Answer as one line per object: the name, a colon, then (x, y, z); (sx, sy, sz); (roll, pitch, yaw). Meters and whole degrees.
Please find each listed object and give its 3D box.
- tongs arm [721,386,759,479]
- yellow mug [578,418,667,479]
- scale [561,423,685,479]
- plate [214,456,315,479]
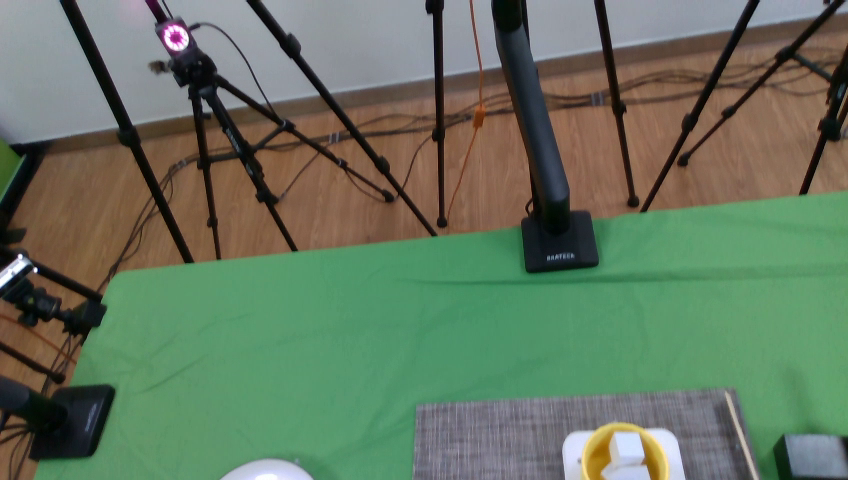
tongs arm: (0.423, 0.350, 0.700); (0.028, 0.028, 0.383); (-25, 50, 23)
yellow mug: (0.242, 0.289, 0.732); (0.100, 0.064, 0.129); (-14, 53, 3)
scale: (0.255, 0.331, 0.757); (0.148, 0.032, 0.199); (-7, 53, 10)
plate: (-0.227, 0.405, 0.826); (0.207, 0.039, 0.205); (-6, 53, 9)
